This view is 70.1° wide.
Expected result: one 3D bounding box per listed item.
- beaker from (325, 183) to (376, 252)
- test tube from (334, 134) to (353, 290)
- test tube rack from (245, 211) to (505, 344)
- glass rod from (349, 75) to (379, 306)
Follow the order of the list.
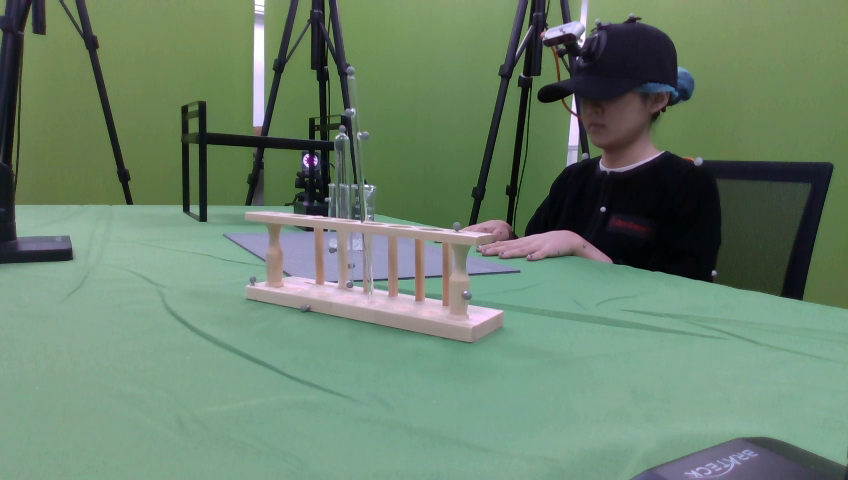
[{"bbox_3d":[-0.110,-0.034,0.920,0.083,0.100,0.074,11,11,43],"label":"beaker"},{"bbox_3d":[-0.077,-0.026,0.579,0.017,0.150,0.017,0,7,0],"label":"test tube"},{"bbox_3d":[-0.049,0.025,0.547,0.241,0.085,0.067,7,8,29],"label":"test tube rack"},{"bbox_3d":[-0.050,-0.037,0.511,0.008,0.199,0.008,-4,10,1],"label":"glass rod"}]
